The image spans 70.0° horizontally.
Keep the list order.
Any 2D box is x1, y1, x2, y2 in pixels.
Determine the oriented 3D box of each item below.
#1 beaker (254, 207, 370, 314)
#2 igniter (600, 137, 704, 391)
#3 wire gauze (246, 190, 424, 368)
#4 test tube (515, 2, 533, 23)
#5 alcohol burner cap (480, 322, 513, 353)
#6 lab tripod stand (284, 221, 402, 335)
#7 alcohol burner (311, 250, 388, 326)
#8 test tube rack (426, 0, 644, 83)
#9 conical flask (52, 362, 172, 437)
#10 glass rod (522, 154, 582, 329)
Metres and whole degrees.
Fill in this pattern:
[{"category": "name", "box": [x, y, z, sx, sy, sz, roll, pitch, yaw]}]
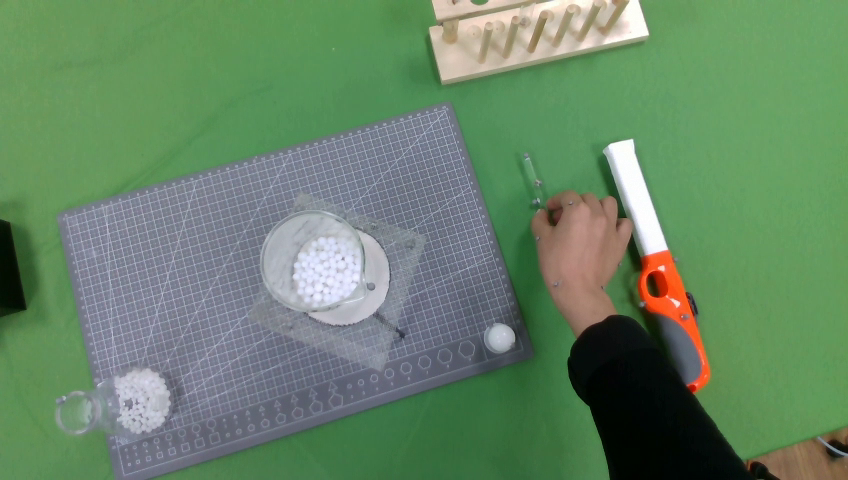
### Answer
[{"category": "beaker", "box": [-0.079, 0.022, 0.474, 0.084, 0.100, 0.074, 33, 83, 4]}, {"category": "igniter", "box": [0.245, 0.022, 0.650, 0.057, 0.025, 0.275, -13, 82, -14]}, {"category": "wire gauze", "box": [-0.075, 0.032, 0.521, 0.125, 0.011, 0.121, 20, 84, 1]}, {"category": "test tube", "box": [0.108, -0.263, 0.614, 0.017, 0.150, 0.017, 0, 81, 2]}, {"category": "alcohol burner cap", "box": [0.077, 0.099, 0.626, 0.034, 0.048, 0.033, 1, 78, -2]}, {"category": "lab tripod stand", "box": [-0.079, 0.041, 0.587, 0.148, 0.132, 0.148, 0, 83, 0]}, {"category": "alcohol burner", "box": [-0.076, 0.046, 0.596, 0.078, 0.119, 0.077, 0, 82, 1]}, {"category": "test tube rack", "box": [0.127, -0.245, 0.661, 0.242, 0.085, 0.066, -13, 81, -3]}, {"category": "conical flask", "box": [-0.296, 0.155, 0.571, 0.075, 0.122, 0.075, 0, 80, -1]}, {"category": "glass rod", "box": [0.140, 0.000, 0.660, 0.008, 0.008, 0.199, -17, 85, -4]}]
